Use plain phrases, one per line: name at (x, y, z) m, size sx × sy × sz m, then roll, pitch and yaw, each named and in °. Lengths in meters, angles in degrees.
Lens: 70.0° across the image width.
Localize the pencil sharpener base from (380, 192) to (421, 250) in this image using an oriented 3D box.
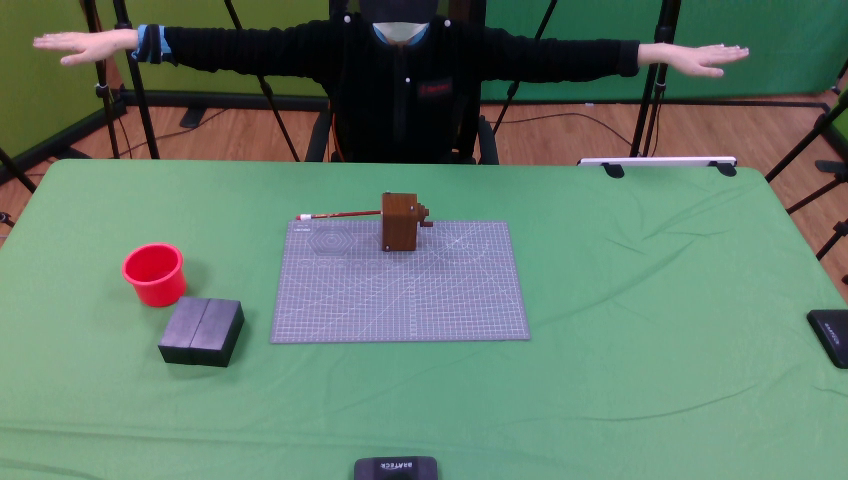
pencil sharpener base at (-0.046, -0.035, 1.163) m, size 0.077 × 0.107 × 0.061 m, roll 0°, pitch 46°, yaw -5°

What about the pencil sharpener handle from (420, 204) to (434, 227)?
pencil sharpener handle at (0.006, -0.047, 1.161) m, size 0.031 × 0.068 × 0.036 m, roll 0°, pitch 60°, yaw -4°

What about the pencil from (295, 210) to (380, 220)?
pencil at (-0.147, -0.049, 1.144) m, size 0.194 × 0.012 × 0.012 m, roll -4°, pitch 46°, yaw 3°
